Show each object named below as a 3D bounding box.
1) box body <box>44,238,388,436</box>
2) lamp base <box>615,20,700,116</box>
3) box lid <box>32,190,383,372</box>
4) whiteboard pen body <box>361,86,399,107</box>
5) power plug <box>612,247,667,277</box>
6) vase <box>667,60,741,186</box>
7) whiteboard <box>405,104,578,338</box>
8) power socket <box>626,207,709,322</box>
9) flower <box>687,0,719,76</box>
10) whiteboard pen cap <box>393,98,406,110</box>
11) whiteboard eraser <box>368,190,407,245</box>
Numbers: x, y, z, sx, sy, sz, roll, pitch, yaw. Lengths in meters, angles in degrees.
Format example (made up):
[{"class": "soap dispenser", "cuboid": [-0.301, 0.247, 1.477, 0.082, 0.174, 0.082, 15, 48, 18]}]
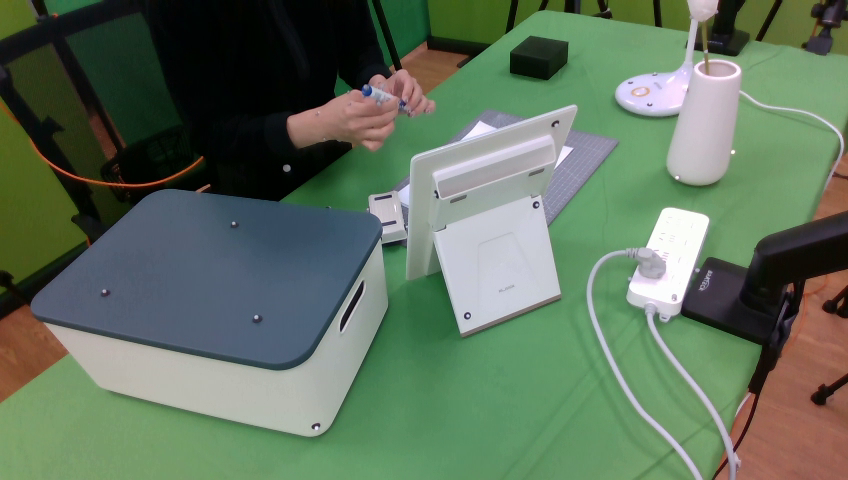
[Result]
[{"class": "box body", "cuboid": [-0.251, 0.088, 0.799, 0.362, 0.161, 0.254, 7, 42, 16]}, {"class": "lamp base", "cuboid": [0.484, -0.364, 1.211, 0.180, 0.181, 0.159, -15, 41, -14]}, {"class": "box lid", "cuboid": [-0.257, 0.032, 0.750, 0.370, 0.015, 0.263, 7, 41, 16]}, {"class": "whiteboard pen body", "cuboid": [-0.058, -0.205, 0.874, 0.017, 0.017, 0.141, 7, 7, 17]}, {"class": "power plug", "cuboid": [0.306, 0.031, 0.852, 0.072, 0.053, 0.035, 21, 48, 37]}, {"class": "vase", "cuboid": [0.463, -0.189, 0.994, 0.098, 0.201, 0.097, -4, 40, 4]}, {"class": "whiteboard", "cuboid": [0.102, 0.003, 0.787, 0.218, 0.306, 0.143, -19, 62, -14]}, {"class": "power socket", "cuboid": [0.360, 0.026, 0.886, 0.072, 0.033, 0.227, 17, 46, 27]}, {"class": "flower", "cuboid": [0.436, -0.242, 0.934, 0.038, 0.364, 0.043, -24, 49, 8]}, {"class": "whiteboard pen cap", "cuboid": [-0.040, -0.210, 0.933, 0.018, 0.018, 0.033, 8, 9, 17]}, {"class": "whiteboard eraser", "cuboid": [-0.061, -0.035, 1.006, 0.056, 0.042, 0.112, -9, 40, -3]}]
